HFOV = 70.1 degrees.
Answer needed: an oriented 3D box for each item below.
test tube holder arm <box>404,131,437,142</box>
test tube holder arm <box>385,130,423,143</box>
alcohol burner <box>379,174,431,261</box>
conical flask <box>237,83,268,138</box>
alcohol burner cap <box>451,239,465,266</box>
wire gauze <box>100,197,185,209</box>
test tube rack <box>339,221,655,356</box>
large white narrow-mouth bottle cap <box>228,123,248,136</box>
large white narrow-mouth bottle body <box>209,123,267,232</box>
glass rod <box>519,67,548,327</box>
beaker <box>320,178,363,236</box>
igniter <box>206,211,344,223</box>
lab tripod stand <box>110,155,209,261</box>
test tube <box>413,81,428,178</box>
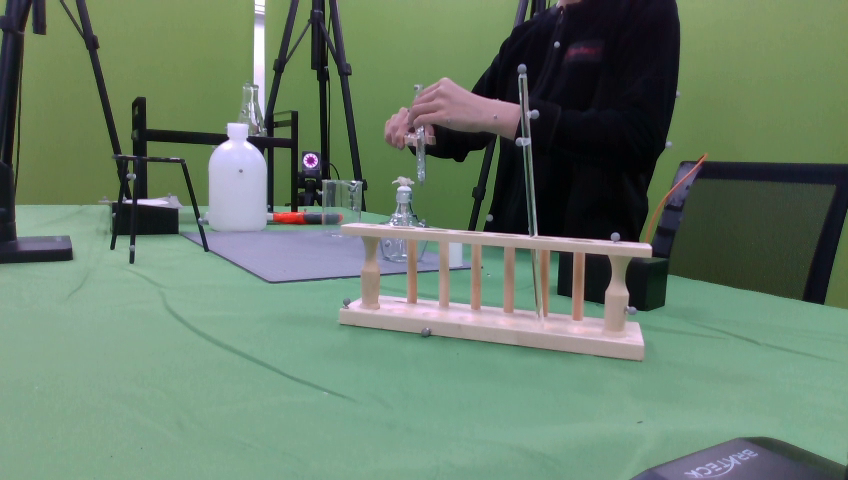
[{"bbox_3d":[-0.010,-0.167,0.974,0.010,0.015,0.087,-11,17,-37],"label":"test tube holder arm"},{"bbox_3d":[-0.036,-0.175,1.010,0.013,0.015,0.177,-5,13,-22],"label":"test tube holder arm"},{"bbox_3d":[-0.027,-0.031,0.838,0.078,0.119,0.078,0,6,0],"label":"alcohol burner"},{"bbox_3d":[-0.402,-0.299,1.406,0.075,0.122,0.075,2,7,0],"label":"conical flask"},{"bbox_3d":[0.040,0.010,0.815,0.034,0.048,0.034,4,8,0],"label":"alcohol burner cap"},{"bbox_3d":[-0.469,-0.062,1.008,0.126,0.011,0.121,-2,8,-25],"label":"wire gauze"},{"bbox_3d":[0.056,0.032,0.495,0.242,0.085,0.067,4,7,15],"label":"test tube rack"},{"bbox_3d":[-0.338,-0.200,1.097,0.038,0.024,0.037,2,8,0],"label":"large white narrow-mouth bottle cap"},{"bbox_3d":[-0.340,-0.115,1.109,0.102,0.194,0.102,2,8,0],"label":"large white narrow-mouth bottle body"},{"bbox_3d":[0.084,-0.029,0.459,0.008,0.199,0.008,-7,11,2],"label":"glass rod"},{"bbox_3d":[-0.145,-0.059,1.079,0.074,0.100,0.083,-4,10,-36],"label":"beaker"},{"bbox_3d":[-0.302,-0.048,1.249,0.278,0.025,0.057,-2,-2,-26],"label":"igniter"},{"bbox_3d":[-0.361,-0.046,0.806,0.148,0.131,0.148,2,5,0],"label":"lab tripod stand"},{"bbox_3d":[-0.005,-0.171,0.947,0.017,0.150,0.017,-3,13,1],"label":"test tube"}]
